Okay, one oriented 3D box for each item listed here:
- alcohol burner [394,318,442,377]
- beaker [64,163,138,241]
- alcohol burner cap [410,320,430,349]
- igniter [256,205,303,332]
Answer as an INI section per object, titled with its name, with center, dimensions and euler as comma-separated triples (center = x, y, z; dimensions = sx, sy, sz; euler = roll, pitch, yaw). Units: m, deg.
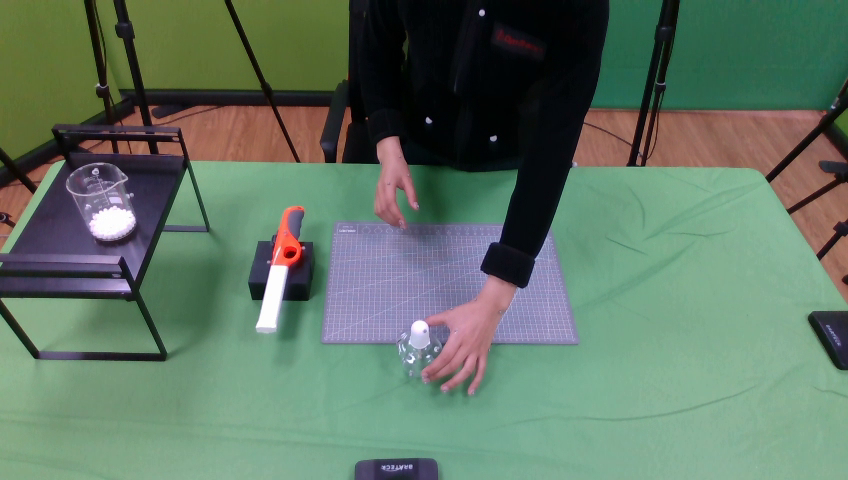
[alcohol burner]
center = -0.010, 0.167, 0.971
dimensions = 0.078, 0.120, 0.077
euler = 0, 46, 0
[beaker]
center = -0.477, -0.055, 0.910
dimensions = 0.084, 0.101, 0.073
euler = -9, 48, -13
[alcohol burner cap]
center = -0.007, 0.145, 0.950
dimensions = 0.034, 0.048, 0.033
euler = 1, 48, -1
[igniter]
center = -0.252, 0.040, 1.070
dimensions = 0.057, 0.025, 0.275
euler = 3, 49, -2
